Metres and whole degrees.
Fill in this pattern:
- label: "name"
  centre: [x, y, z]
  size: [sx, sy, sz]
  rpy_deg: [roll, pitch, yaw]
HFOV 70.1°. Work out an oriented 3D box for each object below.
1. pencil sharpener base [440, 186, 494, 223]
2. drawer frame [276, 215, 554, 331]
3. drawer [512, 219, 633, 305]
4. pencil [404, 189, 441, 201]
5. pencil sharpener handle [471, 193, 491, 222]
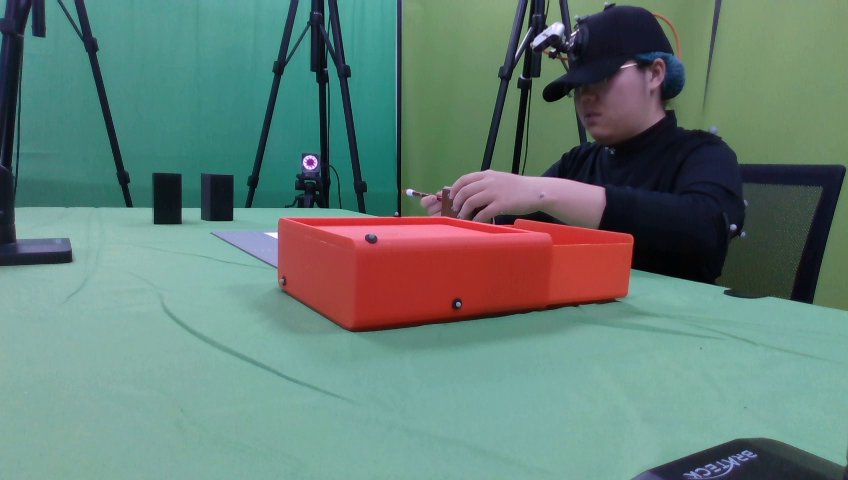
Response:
- label: "pencil sharpener base"
  centre: [0.070, -0.033, 0.991]
  size: [0.062, 0.107, 0.076]
  rpy_deg: [-1, 8, -30]
- label: "drawer frame"
  centre: [-0.015, 0.022, 0.610]
  size: [0.215, 0.082, 0.200]
  rpy_deg: [-2, 9, -32]
- label: "drawer"
  centre: [0.085, 0.021, 0.674]
  size: [0.213, 0.073, 0.193]
  rpy_deg: [-2, 9, -32]
- label: "pencil"
  centre: [0.015, -0.077, 1.082]
  size: [0.012, 0.012, 0.193]
  rpy_deg: [-2, 10, -31]
- label: "pencil sharpener handle"
  centre: [0.095, -0.038, 0.945]
  size: [0.036, 0.067, 0.030]
  rpy_deg: [5, 5, -31]
